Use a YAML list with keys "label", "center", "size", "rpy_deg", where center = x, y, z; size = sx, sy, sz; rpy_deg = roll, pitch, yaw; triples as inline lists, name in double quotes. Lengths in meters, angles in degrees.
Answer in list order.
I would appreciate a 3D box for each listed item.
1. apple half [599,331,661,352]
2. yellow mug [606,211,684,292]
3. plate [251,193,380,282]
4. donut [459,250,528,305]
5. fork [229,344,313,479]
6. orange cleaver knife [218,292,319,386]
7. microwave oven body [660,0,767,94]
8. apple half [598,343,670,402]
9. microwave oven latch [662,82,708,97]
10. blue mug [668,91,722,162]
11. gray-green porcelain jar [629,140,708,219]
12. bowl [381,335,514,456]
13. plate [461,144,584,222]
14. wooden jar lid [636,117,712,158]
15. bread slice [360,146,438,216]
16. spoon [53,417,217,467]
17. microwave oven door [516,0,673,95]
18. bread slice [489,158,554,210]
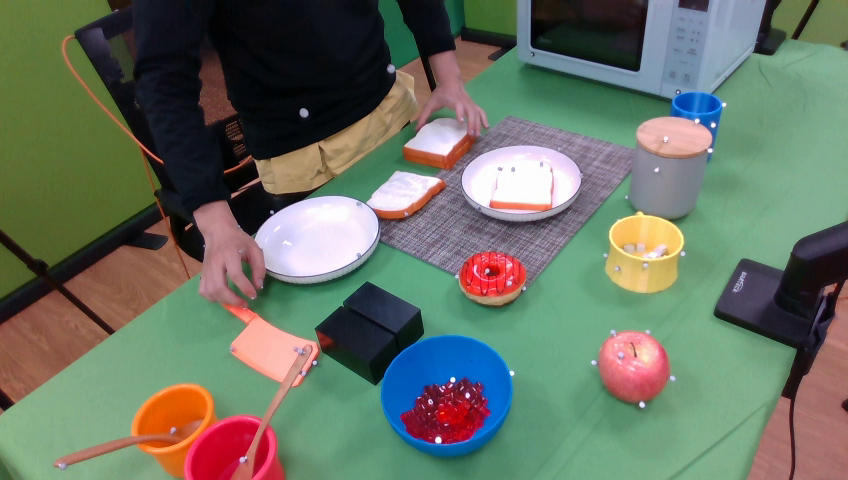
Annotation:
- label: "apple half"
  center: [0.249, 0.134, 0.738]
  size: [0.081, 0.081, 0.032]
  rpy_deg: [-1, 46, 7]
- label: "yellow mug"
  center: [0.318, 0.008, 0.883]
  size: [0.100, 0.064, 0.130]
  rpy_deg: [0, 40, 9]
- label: "plate"
  center: [-0.173, -0.001, 0.984]
  size: [0.209, 0.038, 0.208]
  rpy_deg: [-4, 40, 4]
- label: "donut"
  center: [0.100, 0.053, 0.872]
  size: [0.099, 0.048, 0.098]
  rpy_deg: [-5, 40, 4]
- label: "fork"
  center: [-0.173, 0.205, 0.662]
  size: [0.028, 0.019, 0.207]
  rpy_deg: [29, 94, 35]
- label: "orange cleaver knife"
  center: [-0.235, 0.136, 0.850]
  size: [0.209, 0.012, 0.077]
  rpy_deg: [25, 56, 30]
- label: "microwave oven body"
  center: [0.473, -0.516, 1.313]
  size: [0.438, 0.261, 0.327]
  rpy_deg: [26, 51, 34]
- label: "apple half"
  center: [0.247, 0.161, 0.710]
  size: [0.081, 0.075, 0.053]
  rpy_deg: [2, 47, 5]
- label: "microwave oven latch"
  center: [0.518, -0.298, 1.202]
  size: [0.078, 0.029, 0.030]
  rpy_deg: [28, 53, 35]
- label: "blue mug"
  center: [0.474, -0.207, 1.079]
  size: [0.082, 0.106, 0.116]
  rpy_deg: [4, 42, 13]
- label: "gray-green porcelain jar"
  center: [0.383, -0.105, 0.958]
  size: [0.106, 0.127, 0.105]
  rpy_deg: [-4, 41, 4]
- label: "bowl"
  center: [0.029, 0.192, 0.701]
  size: [0.151, 0.077, 0.150]
  rpy_deg: [-4, 40, 4]
- label: "plate"
  center: [0.168, -0.095, 1.040]
  size: [0.207, 0.039, 0.206]
  rpy_deg: [-4, 40, 4]
- label: "wooden jar lid"
  center: [0.377, -0.151, 0.917]
  size: [0.108, 0.021, 0.108]
  rpy_deg: [-2, 42, 2]
- label: "bread slice"
  center: [-0.053, -0.103, 1.046]
  size: [0.106, 0.018, 0.134]
  rpy_deg: [18, 66, 23]
- label: "spoon"
  center: [-0.308, 0.219, 0.663]
  size: [0.041, 0.195, 0.021]
  rpy_deg: [25, 94, 29]
- label: "microwave oven door"
  center: [0.344, -0.458, 1.256]
  size: [0.353, 0.245, 0.039]
  rpy_deg: [26, 51, 33]
- label: "bread slice"
  center: [0.172, -0.099, 1.047]
  size: [0.104, 0.019, 0.131]
  rpy_deg: [4, 43, 12]
